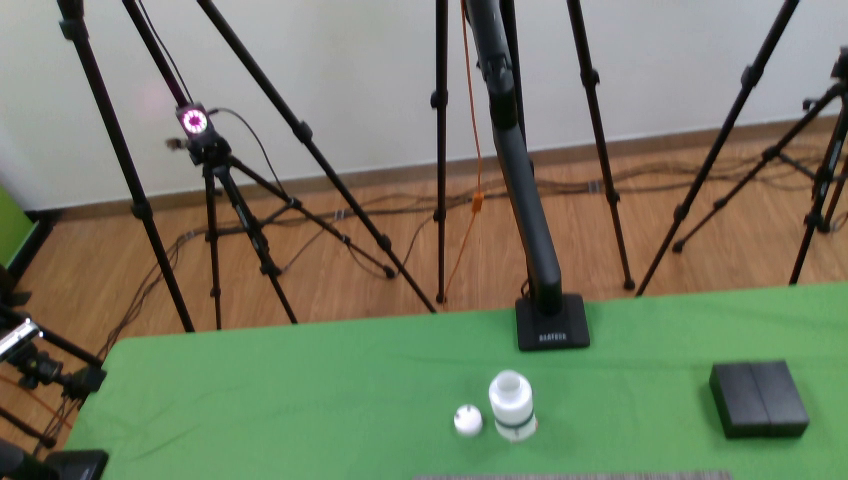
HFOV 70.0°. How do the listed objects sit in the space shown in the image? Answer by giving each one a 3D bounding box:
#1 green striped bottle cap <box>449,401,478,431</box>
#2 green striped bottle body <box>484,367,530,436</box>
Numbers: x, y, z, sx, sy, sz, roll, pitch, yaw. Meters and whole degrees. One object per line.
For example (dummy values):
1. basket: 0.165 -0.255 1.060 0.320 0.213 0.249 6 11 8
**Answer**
1. green striped bottle cap: 0.062 0.279 0.960 0.044 0.020 0.044 -6 51 8
2. green striped bottle body: 0.124 0.238 0.909 0.063 0.120 0.062 -7 45 7
